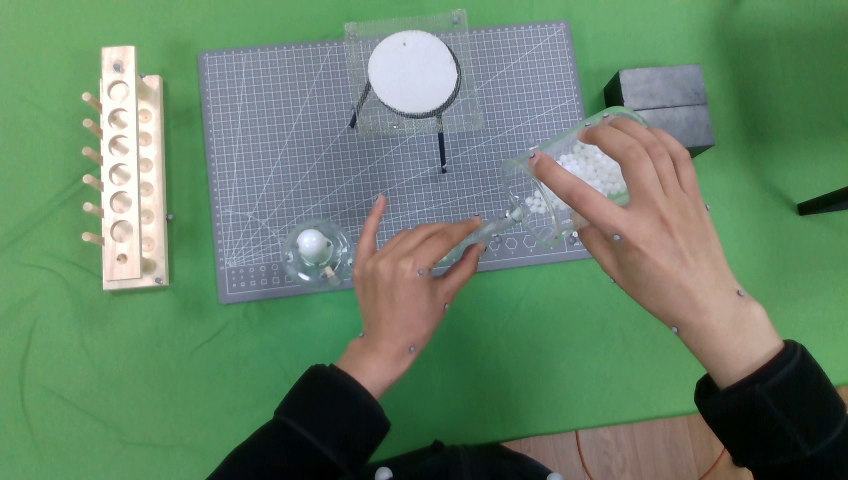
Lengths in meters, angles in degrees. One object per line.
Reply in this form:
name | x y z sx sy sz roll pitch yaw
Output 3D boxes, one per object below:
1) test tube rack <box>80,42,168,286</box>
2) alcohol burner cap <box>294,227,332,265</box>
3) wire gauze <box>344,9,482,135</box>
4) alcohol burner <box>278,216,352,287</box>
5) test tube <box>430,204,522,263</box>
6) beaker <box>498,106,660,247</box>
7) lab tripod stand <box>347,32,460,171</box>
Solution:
test tube rack | -0.324 -0.076 0.645 0.067 0.085 0.241 -4 82 -5
alcohol burner cap | -0.111 0.005 0.597 0.034 0.048 0.033 0 76 1
wire gauze | -0.011 -0.162 0.589 0.125 0.011 0.121 -6 82 -6
alcohol burner | -0.115 0.010 0.632 0.078 0.119 0.077 1 80 -6
test tube | 0.042 -0.002 0.551 0.017 0.150 0.017 8 71 -24
beaker | 0.117 -0.050 0.458 0.100 0.084 0.074 -28 84 -9
lab tripod stand | -0.013 -0.156 0.656 0.148 0.132 0.148 1 79 -3
